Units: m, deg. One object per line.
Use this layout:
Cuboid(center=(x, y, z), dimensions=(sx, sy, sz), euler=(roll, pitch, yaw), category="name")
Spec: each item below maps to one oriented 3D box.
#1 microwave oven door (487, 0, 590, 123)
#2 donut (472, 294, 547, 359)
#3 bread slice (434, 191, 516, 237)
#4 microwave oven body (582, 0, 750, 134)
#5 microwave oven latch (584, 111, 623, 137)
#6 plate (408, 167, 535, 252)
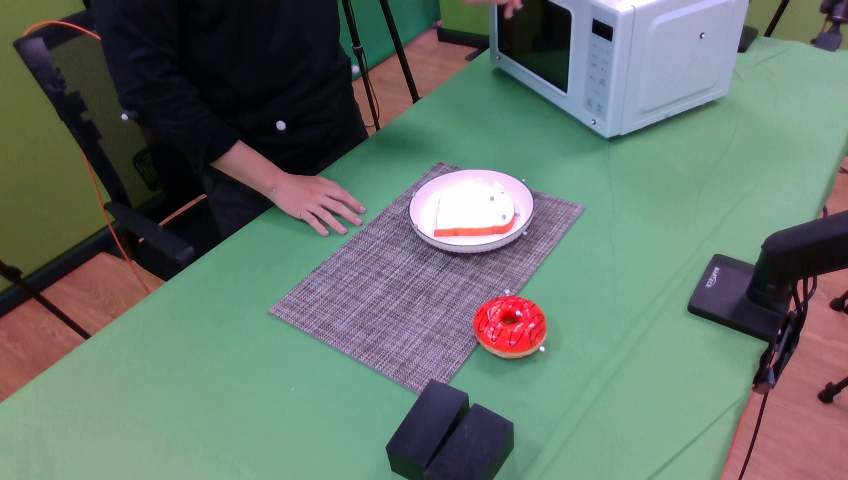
Cuboid(center=(0.232, -0.420, 1.231), dimensions=(0.039, 0.245, 0.352), euler=(-22, 43, -16), category="microwave oven door")
Cuboid(center=(0.114, 0.114, 0.803), dimensions=(0.099, 0.048, 0.098), euler=(0, 40, 1), category="donut")
Cuboid(center=(0.086, -0.046, 0.996), dimensions=(0.131, 0.019, 0.104), euler=(-1, 42, 7), category="bread slice")
Cuboid(center=(0.382, -0.444, 1.246), dimensions=(0.327, 0.261, 0.437), euler=(-22, 42, -16), category="microwave oven body")
Cuboid(center=(0.337, -0.222, 1.142), dimensions=(0.030, 0.029, 0.078), euler=(-21, 42, -14), category="microwave oven latch")
Cuboid(center=(0.078, -0.047, 0.996), dimensions=(0.207, 0.039, 0.206), euler=(-4, 41, 4), category="plate")
